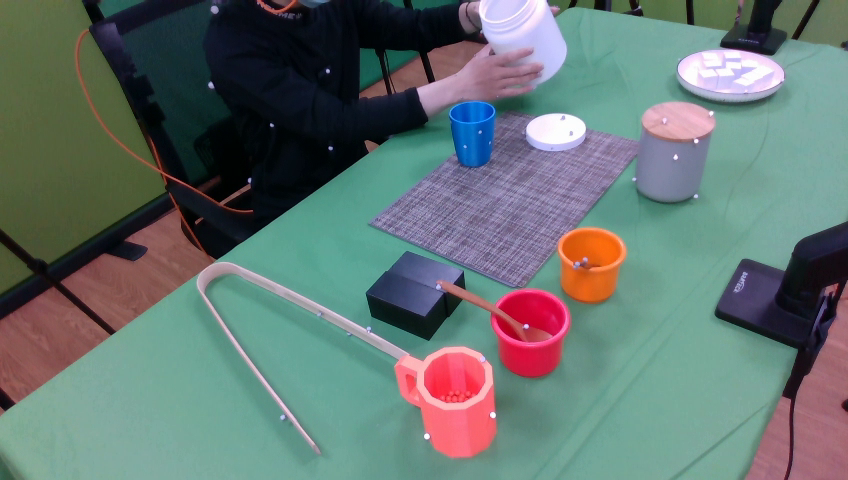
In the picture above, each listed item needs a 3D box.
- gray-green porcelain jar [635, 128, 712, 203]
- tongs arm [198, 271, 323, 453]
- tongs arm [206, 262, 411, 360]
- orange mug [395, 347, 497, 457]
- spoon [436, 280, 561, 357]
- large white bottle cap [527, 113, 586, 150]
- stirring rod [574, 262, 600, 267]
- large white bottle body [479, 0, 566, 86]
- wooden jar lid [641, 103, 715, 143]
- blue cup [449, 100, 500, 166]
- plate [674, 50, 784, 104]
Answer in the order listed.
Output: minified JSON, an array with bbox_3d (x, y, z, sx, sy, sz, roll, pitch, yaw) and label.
[{"bbox_3d":[0.404,-0.133,0.992,0.106,0.127,0.105,-4,40,4],"label":"gray-green porcelain jar"},{"bbox_3d":[-0.236,0.153,0.831,0.028,0.028,0.384,-37,48,-18],"label":"tongs arm"},{"bbox_3d":[-0.179,0.106,0.870,0.381,0.026,0.051,23,54,32],"label":"tongs arm"},{"bbox_3d":[0.024,0.181,0.703,0.125,0.101,0.083,20,48,23],"label":"orange mug"},{"bbox_3d":[0.096,0.095,0.757,0.195,0.021,0.041,34,40,-20],"label":"spoon"},{"bbox_3d":[0.259,-0.213,1.183,0.115,0.018,0.114,-4,41,4],"label":"large white bottle cap"},{"bbox_3d":[0.222,0.033,0.816,0.014,0.006,0.177,7,1,22],"label":"stirring rod"},{"bbox_3d":[0.193,-0.410,1.195,0.130,0.186,0.130,-13,60,25],"label":"large white bottle body"},{"bbox_3d":[0.398,-0.180,0.952,0.108,0.021,0.108,-4,43,4],"label":"wooden jar lid"},{"bbox_3d":[0.092,-0.194,1.123,0.092,0.100,0.092,-3,40,3],"label":"blue cup"},{"bbox_3d":[0.631,-0.336,1.262,0.207,0.039,0.206,-4,41,4],"label":"plate"}]
